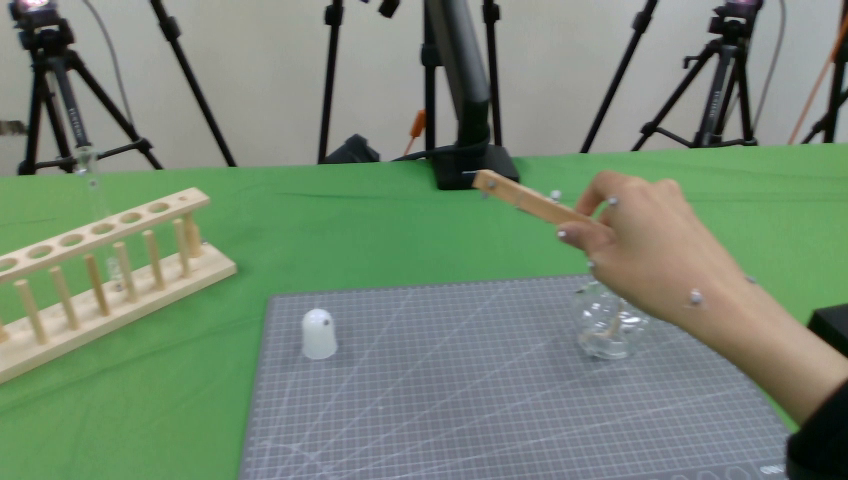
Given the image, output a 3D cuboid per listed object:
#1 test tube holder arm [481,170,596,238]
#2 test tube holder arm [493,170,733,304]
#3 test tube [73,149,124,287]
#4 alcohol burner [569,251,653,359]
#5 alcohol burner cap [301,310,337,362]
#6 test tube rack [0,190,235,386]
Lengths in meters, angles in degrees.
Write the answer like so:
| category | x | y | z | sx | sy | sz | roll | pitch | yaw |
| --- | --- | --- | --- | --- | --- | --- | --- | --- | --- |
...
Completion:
| category | x | y | z | sx | sy | sz | roll | pitch | yaw |
| --- | --- | --- | --- | --- | --- | --- | --- | --- | --- |
| test tube holder arm | 0.078 | -0.026 | 0.419 | 0.087 | 0.015 | 0.010 | 29 | 21 | 25 |
| test tube holder arm | 0.117 | -0.006 | 0.405 | 0.177 | 0.015 | 0.013 | 30 | 21 | 26 |
| test tube | -0.321 | -0.017 | 0.601 | 0.017 | 0.151 | 0.017 | 2 | 30 | 0 |
| alcohol burner | 0.177 | 0.052 | 0.564 | 0.078 | 0.120 | 0.077 | 1 | 36 | -1 |
| alcohol burner cap | -0.100 | 0.087 | 0.571 | 0.034 | 0.048 | 0.033 | 1 | 34 | 0 |
| test tube rack | -0.320 | 0.038 | 0.606 | 0.066 | 0.086 | 0.242 | 28 | 42 | 35 |
